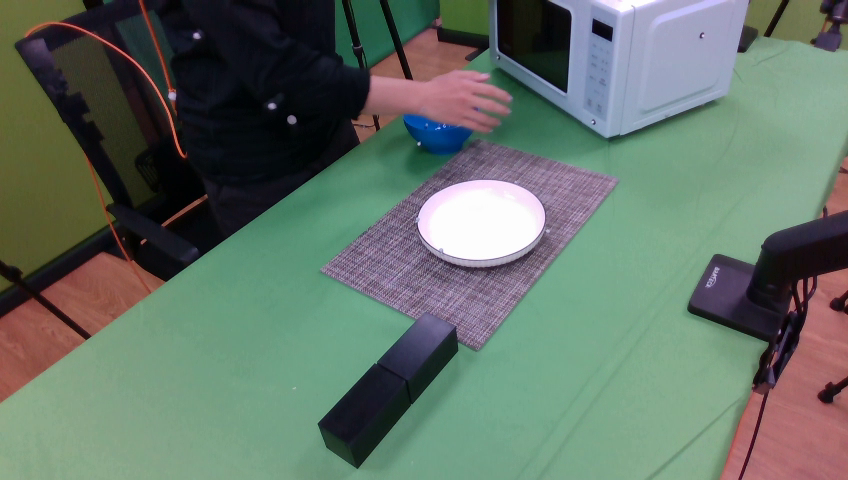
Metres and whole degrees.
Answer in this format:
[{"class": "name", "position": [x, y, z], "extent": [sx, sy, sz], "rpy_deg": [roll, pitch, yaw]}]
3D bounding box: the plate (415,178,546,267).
[{"class": "plate", "position": [0.091, -0.026, 0.970], "extent": [0.207, 0.039, 0.206], "rpy_deg": [-4, 41, 4]}]

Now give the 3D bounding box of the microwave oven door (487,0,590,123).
[{"class": "microwave oven door", "position": [0.232, -0.420, 1.231], "extent": [0.039, 0.245, 0.352], "rpy_deg": [-22, 43, -16]}]

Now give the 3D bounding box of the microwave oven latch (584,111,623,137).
[{"class": "microwave oven latch", "position": [0.337, -0.222, 1.142], "extent": [0.030, 0.029, 0.078], "rpy_deg": [-21, 42, -14]}]

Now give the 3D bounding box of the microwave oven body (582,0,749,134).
[{"class": "microwave oven body", "position": [0.382, -0.444, 1.246], "extent": [0.327, 0.261, 0.437], "rpy_deg": [-22, 42, -16]}]

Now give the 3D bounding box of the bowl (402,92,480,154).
[{"class": "bowl", "position": [0.036, -0.220, 1.179], "extent": [0.151, 0.077, 0.150], "rpy_deg": [-4, 40, 4]}]
